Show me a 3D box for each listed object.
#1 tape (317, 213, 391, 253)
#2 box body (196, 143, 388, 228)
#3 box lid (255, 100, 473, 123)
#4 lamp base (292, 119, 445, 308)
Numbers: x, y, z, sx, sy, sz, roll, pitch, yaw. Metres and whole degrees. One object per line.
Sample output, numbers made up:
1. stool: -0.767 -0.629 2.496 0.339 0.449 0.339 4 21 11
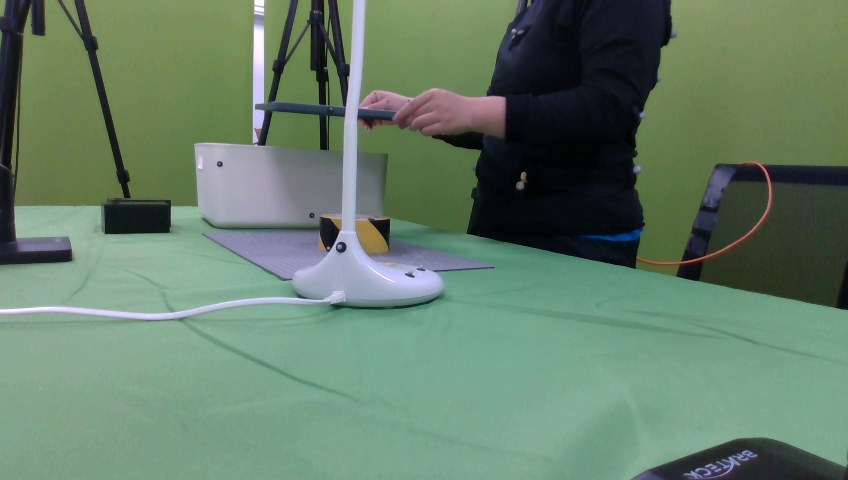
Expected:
1. tape: -0.109 -0.012 0.938 0.117 0.052 0.117 2 6 0
2. box body: -0.286 -0.118 1.291 0.366 0.160 0.253 -1 8 -27
3. box lid: -0.120 -0.239 1.148 0.373 0.015 0.262 -1 10 -24
4. lamp base: -0.056 -0.030 0.616 0.160 0.180 0.179 4 10 8
